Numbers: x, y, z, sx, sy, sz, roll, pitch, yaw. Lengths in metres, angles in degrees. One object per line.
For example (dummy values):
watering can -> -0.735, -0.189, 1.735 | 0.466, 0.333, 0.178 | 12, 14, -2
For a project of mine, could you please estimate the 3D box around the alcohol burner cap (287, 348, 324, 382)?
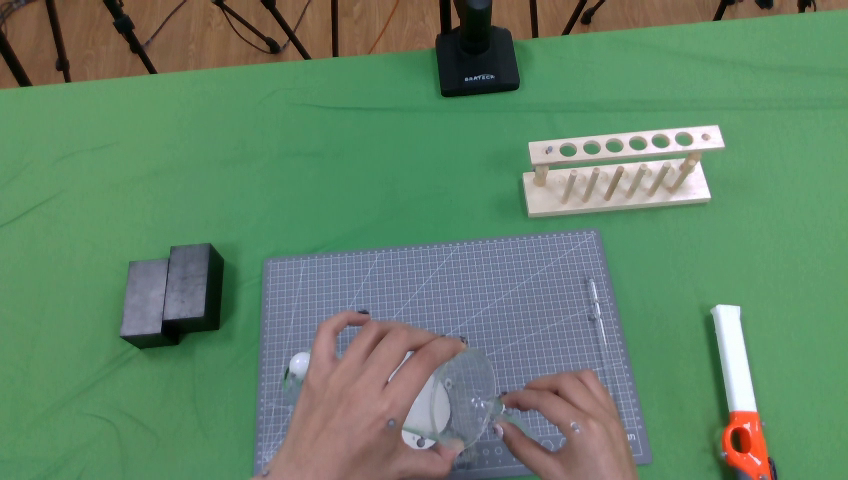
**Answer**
alcohol burner cap -> -0.129, 0.133, 0.650 | 0.034, 0.048, 0.033 | -3, 69, 7

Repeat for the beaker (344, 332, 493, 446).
beaker -> -0.006, 0.112, 0.478 | 0.099, 0.085, 0.073 | 2, 74, 42

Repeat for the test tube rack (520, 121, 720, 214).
test tube rack -> 0.255, -0.094, 0.799 | 0.242, 0.086, 0.066 | -5, 64, 0

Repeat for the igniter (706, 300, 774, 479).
igniter -> 0.358, 0.201, 0.687 | 0.057, 0.025, 0.274 | 6, 65, -6

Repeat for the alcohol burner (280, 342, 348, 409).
alcohol burner -> -0.127, 0.148, 0.683 | 0.078, 0.120, 0.077 | -1, 62, 3

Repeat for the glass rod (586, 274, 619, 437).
glass rod -> 0.215, 0.135, 0.732 | 0.008, 0.008, 0.198 | -4, 67, 0

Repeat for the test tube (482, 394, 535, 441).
test tube -> 0.078, 0.160, 0.538 | 0.017, 0.152, 0.017 | -9, 61, 18

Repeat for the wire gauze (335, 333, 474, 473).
wire gauze -> -0.022, 0.156, 0.589 | 0.125, 0.011, 0.120 | -8, 63, -1

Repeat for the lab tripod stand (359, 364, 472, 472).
lab tripod stand -> -0.018, 0.188, 0.648 | 0.148, 0.132, 0.147 | -2, 64, 4
